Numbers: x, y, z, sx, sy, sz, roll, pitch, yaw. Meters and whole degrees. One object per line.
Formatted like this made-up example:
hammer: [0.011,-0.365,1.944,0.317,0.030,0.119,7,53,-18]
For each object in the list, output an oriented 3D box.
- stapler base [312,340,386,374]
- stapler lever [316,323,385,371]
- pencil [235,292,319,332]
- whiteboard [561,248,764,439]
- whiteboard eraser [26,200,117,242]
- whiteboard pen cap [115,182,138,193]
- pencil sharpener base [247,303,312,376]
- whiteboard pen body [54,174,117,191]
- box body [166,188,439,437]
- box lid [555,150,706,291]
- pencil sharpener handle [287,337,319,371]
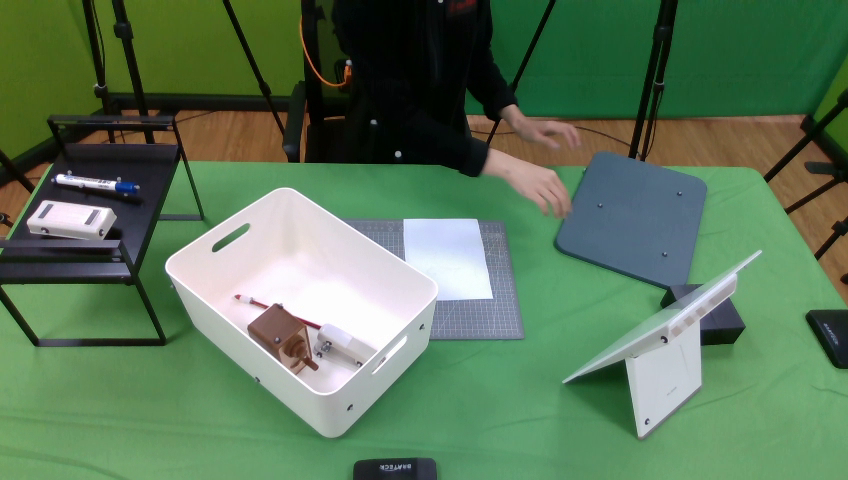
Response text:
stapler base: [-0.123,0.189,0.997,0.130,0.024,0.041,21,51,15]
stapler lever: [-0.120,0.171,0.977,0.118,0.040,0.027,22,51,13]
pencil: [-0.244,0.130,1.054,0.194,0.012,0.012,22,49,11]
whiteboard: [0.386,0.176,0.905,0.217,0.306,0.143,-26,72,-27]
whiteboard eraser: [-0.532,-0.026,0.919,0.113,0.042,0.055,7,45,3]
whiteboard pen cap: [-0.483,-0.086,0.984,0.033,0.018,0.018,7,46,10]
pencil sharpener base: [-0.224,0.165,0.956,0.076,0.107,0.061,31,53,23]
whiteboard pen body: [-0.541,-0.093,0.993,0.140,0.017,0.017,7,46,8]
box body: [-0.190,0.108,0.980,0.362,0.161,0.254,32,52,24]
box lid: [0.451,-0.059,1.297,0.263,0.015,0.370,20,48,14]
pencil sharpener handle: [-0.181,0.178,0.929,0.030,0.068,0.036,31,67,23]
